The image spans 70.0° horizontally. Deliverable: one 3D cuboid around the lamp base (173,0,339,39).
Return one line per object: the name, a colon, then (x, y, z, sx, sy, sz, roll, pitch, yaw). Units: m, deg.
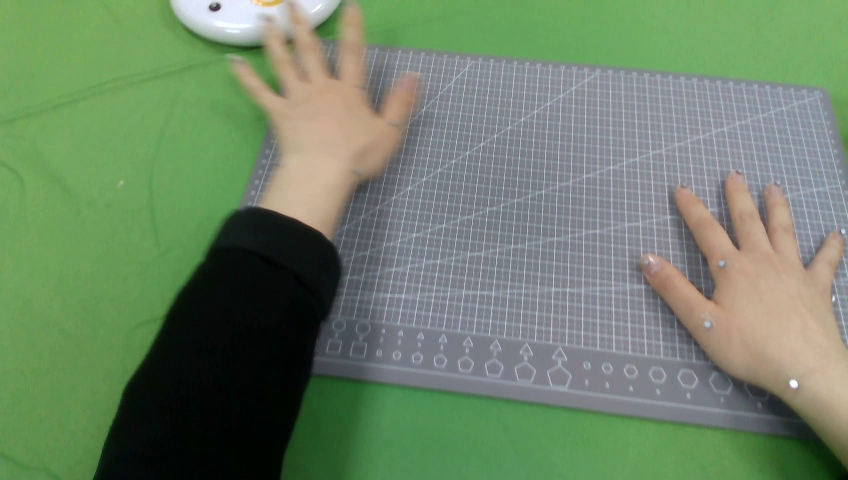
lamp base: (-0.158, -0.291, 0.496, 0.160, 0.182, 0.177, -30, 62, -17)
